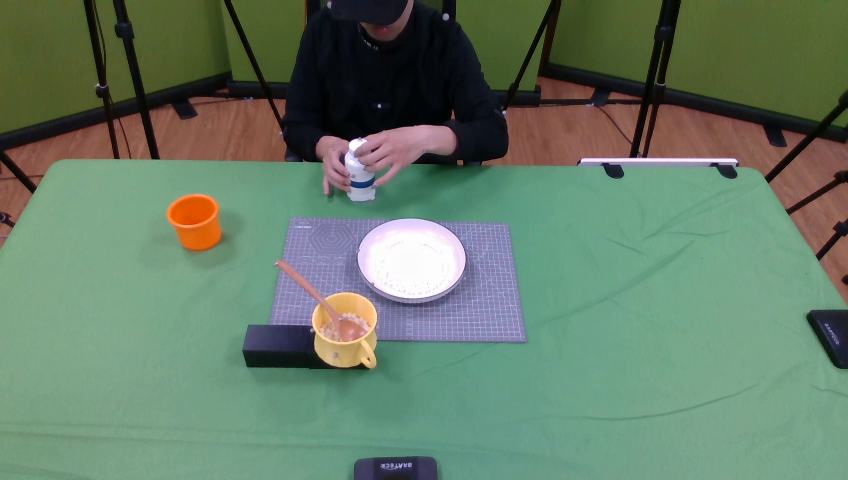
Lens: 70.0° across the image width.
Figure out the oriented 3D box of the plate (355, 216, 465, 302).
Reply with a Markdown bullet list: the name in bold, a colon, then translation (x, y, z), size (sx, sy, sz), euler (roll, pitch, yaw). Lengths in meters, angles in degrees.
- **plate**: translation (-0.027, 0.039, 1.144), size (0.208, 0.039, 0.206), euler (2, 46, -2)

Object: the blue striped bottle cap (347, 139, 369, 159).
- **blue striped bottle cap**: translation (-0.133, -0.184, 1.215), size (0.044, 0.021, 0.044), euler (3, 43, -3)

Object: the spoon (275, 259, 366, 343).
- **spoon**: translation (-0.161, 0.098, 0.946), size (0.194, 0.021, 0.041), euler (48, 56, -5)

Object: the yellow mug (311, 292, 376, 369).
- **yellow mug**: translation (-0.115, 0.150, 0.945), size (0.100, 0.064, 0.130), euler (-29, 57, -28)

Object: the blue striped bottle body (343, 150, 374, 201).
- **blue striped bottle body**: translation (-0.135, -0.145, 1.257), size (0.063, 0.121, 0.062), euler (3, 47, -3)
